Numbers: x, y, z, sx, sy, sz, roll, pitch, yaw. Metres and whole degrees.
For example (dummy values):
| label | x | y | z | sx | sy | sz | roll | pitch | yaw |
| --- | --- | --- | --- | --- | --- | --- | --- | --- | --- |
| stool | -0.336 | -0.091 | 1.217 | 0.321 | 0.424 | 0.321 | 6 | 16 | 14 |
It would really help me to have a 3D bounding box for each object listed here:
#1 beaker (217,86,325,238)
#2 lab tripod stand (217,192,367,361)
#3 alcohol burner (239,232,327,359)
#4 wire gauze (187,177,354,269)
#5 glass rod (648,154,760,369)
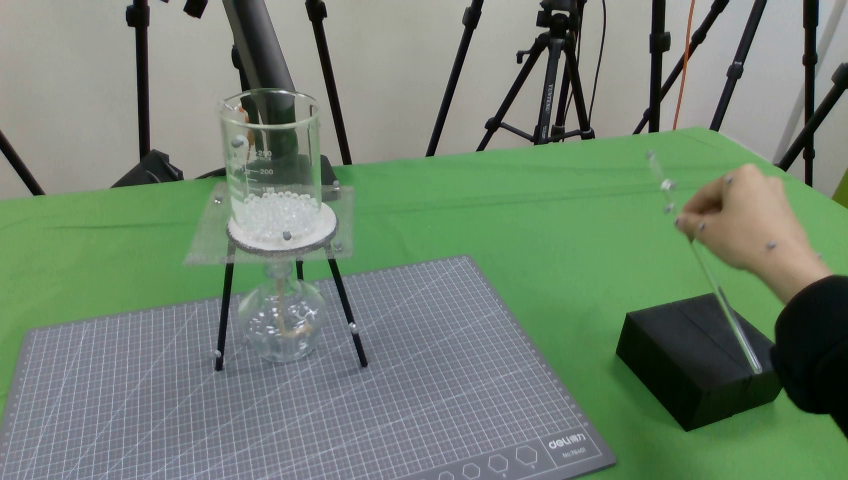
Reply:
| label | x | y | z | sx | sy | sz | roll | pitch | yaw |
| --- | --- | --- | --- | --- | --- | --- | --- | --- | --- |
| beaker | -0.118 | -0.060 | 0.469 | 0.083 | 0.101 | 0.074 | 20 | 37 | 22 |
| lab tripod stand | -0.115 | 0.036 | 0.533 | 0.148 | 0.132 | 0.147 | 4 | 33 | -2 |
| alcohol burner | -0.126 | 0.046 | 0.535 | 0.078 | 0.120 | 0.077 | 1 | 33 | 0 |
| wire gauze | -0.118 | -0.019 | 0.495 | 0.121 | 0.011 | 0.124 | -1 | 36 | -6 |
| glass rod | 0.229 | 0.011 | 0.502 | 0.008 | 0.008 | 0.198 | -10 | 66 | -18 |
